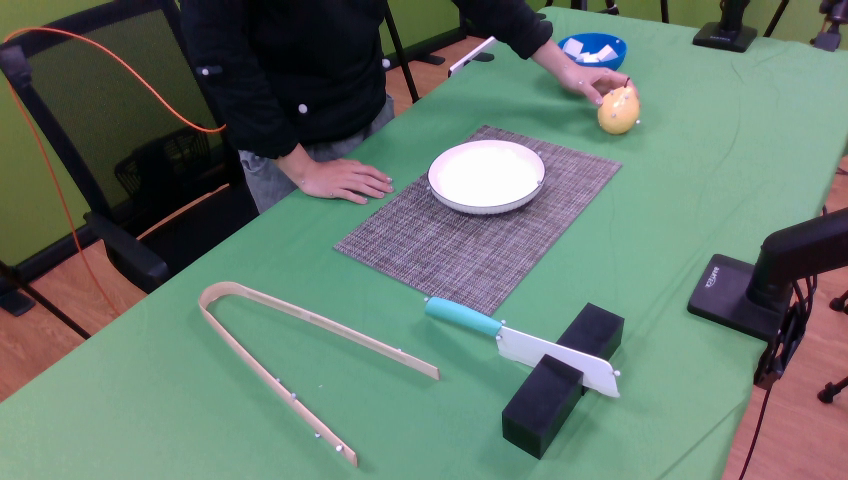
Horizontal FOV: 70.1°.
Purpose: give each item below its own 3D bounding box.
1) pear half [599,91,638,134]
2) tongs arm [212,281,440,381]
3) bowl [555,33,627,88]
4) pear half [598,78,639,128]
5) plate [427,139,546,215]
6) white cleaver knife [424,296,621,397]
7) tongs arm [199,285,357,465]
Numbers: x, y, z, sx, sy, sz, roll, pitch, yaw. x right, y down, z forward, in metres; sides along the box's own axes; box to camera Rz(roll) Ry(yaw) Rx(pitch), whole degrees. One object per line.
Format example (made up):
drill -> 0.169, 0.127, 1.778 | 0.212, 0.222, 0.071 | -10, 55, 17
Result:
pear half -> 0.367, -0.234, 1.136 | 0.070, 0.088, 0.031 | 11, 43, 4
tongs arm -> -0.148, 0.121, 0.845 | 0.385, 0.028, 0.028 | 17, 48, 25
bowl -> 0.360, -0.384, 1.318 | 0.151, 0.077, 0.150 | -4, 41, 4
pear half -> 0.375, -0.265, 1.154 | 0.076, 0.110, 0.056 | 12, 45, 3
plate -> 0.109, -0.106, 1.058 | 0.207, 0.039, 0.206 | -4, 40, 4
white cleaver knife -> 0.110, 0.132, 0.761 | 0.284, 0.066, 0.021 | 17, 42, 39
tongs arm -> -0.199, 0.162, 0.797 | 0.381, 0.026, 0.051 | 28, 50, 35
